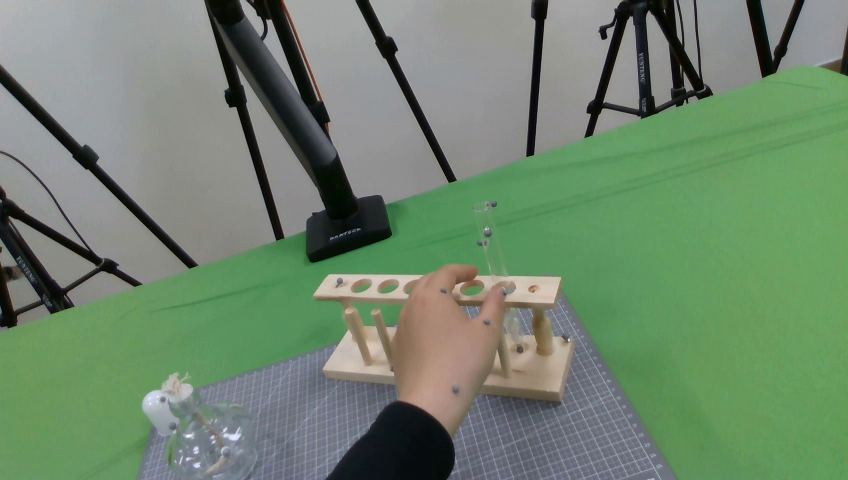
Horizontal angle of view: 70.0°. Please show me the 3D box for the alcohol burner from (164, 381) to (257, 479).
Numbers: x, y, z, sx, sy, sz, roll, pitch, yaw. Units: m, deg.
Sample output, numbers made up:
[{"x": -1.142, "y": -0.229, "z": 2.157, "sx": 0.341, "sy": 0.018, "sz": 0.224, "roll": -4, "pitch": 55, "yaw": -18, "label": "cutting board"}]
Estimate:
[{"x": -0.194, "y": 0.164, "z": 0.526, "sx": 0.078, "sy": 0.120, "sz": 0.077, "roll": -11, "pitch": 33, "yaw": 8, "label": "alcohol burner"}]

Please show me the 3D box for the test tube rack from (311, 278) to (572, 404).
[{"x": 0.007, "y": 0.089, "z": 0.568, "sx": 0.241, "sy": 0.086, "sz": 0.066, "roll": -1, "pitch": 35, "yaw": 26, "label": "test tube rack"}]

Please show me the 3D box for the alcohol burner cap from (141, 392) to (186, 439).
[{"x": -0.267, "y": 0.174, "z": 0.615, "sx": 0.034, "sy": 0.048, "sz": 0.033, "roll": -12, "pitch": 33, "yaw": 8, "label": "alcohol burner cap"}]

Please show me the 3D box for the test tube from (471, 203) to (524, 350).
[{"x": 0.065, "y": 0.036, "z": 0.525, "sx": 0.017, "sy": 0.151, "sz": 0.017, "roll": -14, "pitch": 28, "yaw": 8, "label": "test tube"}]
